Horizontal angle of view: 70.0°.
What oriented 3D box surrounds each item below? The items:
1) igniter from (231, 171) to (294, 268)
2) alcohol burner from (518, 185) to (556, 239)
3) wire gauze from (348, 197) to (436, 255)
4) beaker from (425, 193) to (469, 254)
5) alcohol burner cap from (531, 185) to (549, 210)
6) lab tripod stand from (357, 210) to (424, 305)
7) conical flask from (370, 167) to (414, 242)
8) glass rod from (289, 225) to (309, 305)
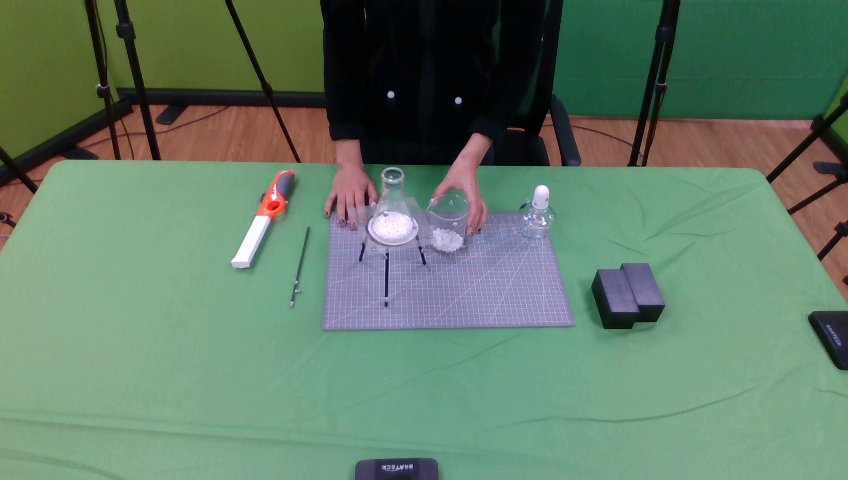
[{"bbox_3d":[-0.321,-0.050,1.220,0.057,0.025,0.275,2,45,12],"label":"igniter"},{"bbox_3d":[0.227,-0.061,1.210,0.078,0.120,0.077,1,45,-1],"label":"alcohol burner"},{"bbox_3d":[-0.056,-0.025,1.046,0.125,0.011,0.120,-13,46,-15],"label":"wire gauze"},{"bbox_3d":[0.042,-0.028,1.174,0.084,0.101,0.073,-5,46,-8],"label":"beaker"},{"bbox_3d":[0.228,-0.085,1.183,0.034,0.048,0.033,-2,48,2],"label":"alcohol burner cap"},{"bbox_3d":[-0.060,0.020,1.094,0.148,0.132,0.147,3,44,-2],"label":"lab tripod stand"},{"bbox_3d":[-0.053,-0.062,1.000,0.075,0.122,0.075,2,44,-2],"label":"conical flask"},{"bbox_3d":[-0.236,0.043,1.149,0.008,0.008,0.198,3,46,-1],"label":"glass rod"}]
